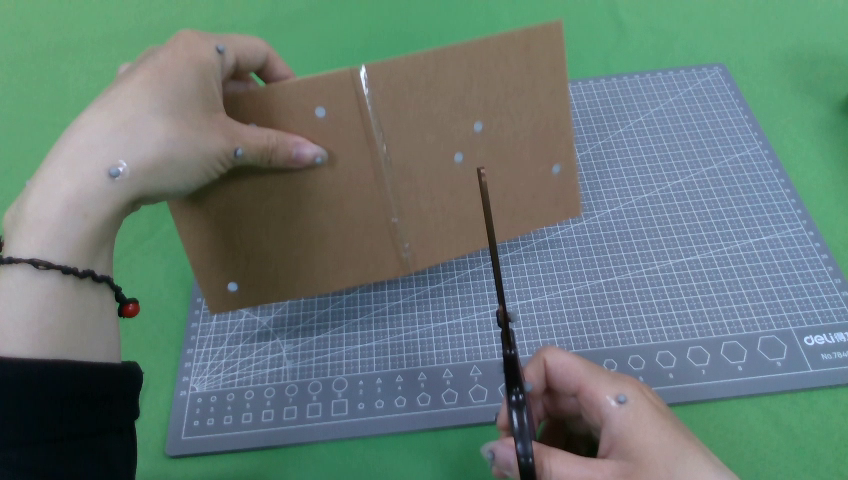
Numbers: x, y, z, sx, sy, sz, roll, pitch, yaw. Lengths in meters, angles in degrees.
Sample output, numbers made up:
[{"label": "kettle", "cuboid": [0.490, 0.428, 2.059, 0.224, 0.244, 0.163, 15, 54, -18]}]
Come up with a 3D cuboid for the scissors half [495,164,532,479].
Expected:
[{"label": "scissors half", "cuboid": [0.041, 0.051, 0.281, 0.013, 0.176, 0.040, -6, 16, 3]}]

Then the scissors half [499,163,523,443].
[{"label": "scissors half", "cuboid": [0.043, 0.043, 0.300, 0.013, 0.177, 0.039, -3, 33, 7]}]

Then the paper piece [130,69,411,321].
[{"label": "paper piece", "cuboid": [-0.090, -0.023, 0.373, 0.138, 0.137, 0.008, -12, 17, 2]}]

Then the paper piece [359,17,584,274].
[{"label": "paper piece", "cuboid": [0.039, -0.059, 0.386, 0.136, 0.136, 0.004, -18, 22, -14]}]
